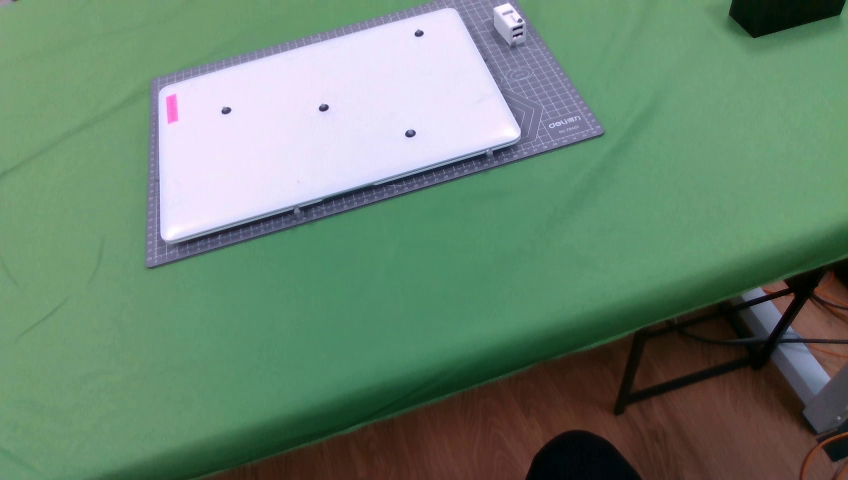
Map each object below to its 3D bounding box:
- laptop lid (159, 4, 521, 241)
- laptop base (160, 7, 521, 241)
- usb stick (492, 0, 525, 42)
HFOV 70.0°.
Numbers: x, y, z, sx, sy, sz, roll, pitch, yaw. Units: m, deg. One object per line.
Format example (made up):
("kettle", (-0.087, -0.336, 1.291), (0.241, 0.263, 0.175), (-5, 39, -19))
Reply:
("laptop lid", (-0.103, -0.137, 0.630), (0.357, 0.013, 0.239), (-16, 55, -2))
("laptop base", (-0.102, -0.132, 0.640), (0.354, 0.023, 0.233), (-17, 56, -3))
("usb stick", (0.093, -0.253, 0.690), (0.021, 0.027, 0.058), (-21, 49, -6))
